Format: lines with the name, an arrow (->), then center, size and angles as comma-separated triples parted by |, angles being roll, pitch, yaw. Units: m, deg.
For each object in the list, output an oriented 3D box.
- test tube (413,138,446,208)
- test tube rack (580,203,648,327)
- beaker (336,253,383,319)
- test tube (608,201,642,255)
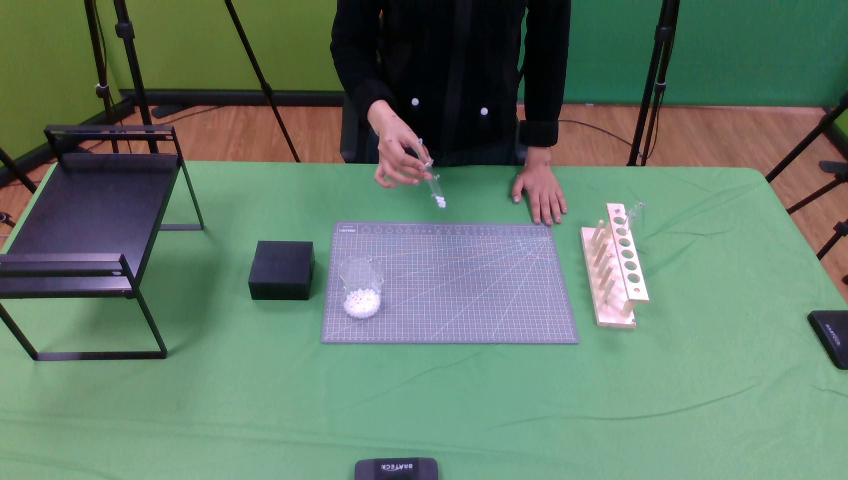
test tube -> 0.012, -0.113, 1.051 | 0.017, 0.151, 0.017 | -13, 41, 12
test tube rack -> 0.352, 0.040, 1.143 | 0.067, 0.085, 0.241 | 4, 46, 0
beaker -> -0.108, 0.084, 1.052 | 0.084, 0.101, 0.074 | 25, 50, 17
test tube -> 0.373, -0.019, 1.133 | 0.017, 0.151, 0.017 | 3, 52, -4
